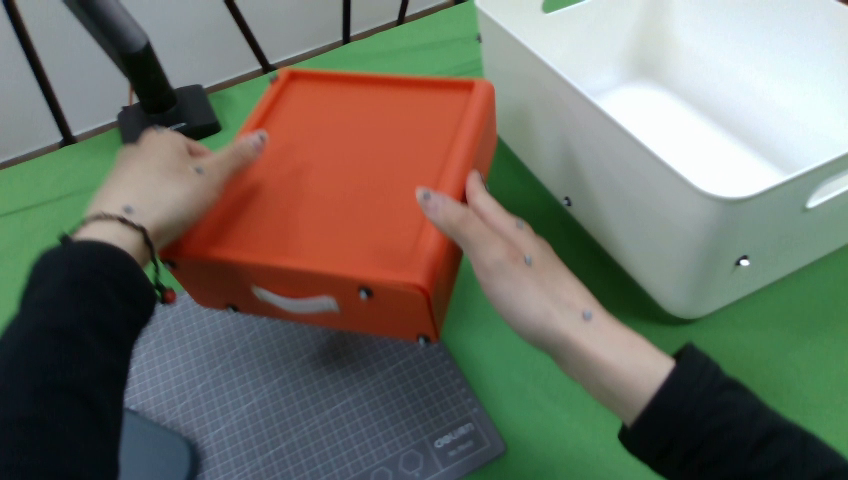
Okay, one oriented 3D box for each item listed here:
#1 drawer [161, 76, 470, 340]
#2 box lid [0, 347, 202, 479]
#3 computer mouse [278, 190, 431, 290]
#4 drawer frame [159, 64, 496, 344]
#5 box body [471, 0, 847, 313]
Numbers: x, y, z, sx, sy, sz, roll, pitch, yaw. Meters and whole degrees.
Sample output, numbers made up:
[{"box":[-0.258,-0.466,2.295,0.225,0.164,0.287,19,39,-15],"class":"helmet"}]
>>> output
[{"box":[-0.062,-0.037,0.478,0.194,0.074,0.210,6,53,16],"class":"drawer"},{"box":[-0.380,0.212,0.469,0.369,0.015,0.262,14,52,21],"class":"box lid"},{"box":[-0.054,-0.003,0.477,0.116,0.041,0.062,18,49,15],"class":"computer mouse"},{"box":[-0.062,-0.041,0.480,0.201,0.083,0.212,6,53,15],"class":"drawer frame"},{"box":[0.236,-0.132,0.577,0.254,0.162,0.360,-23,48,-12],"class":"box body"}]
